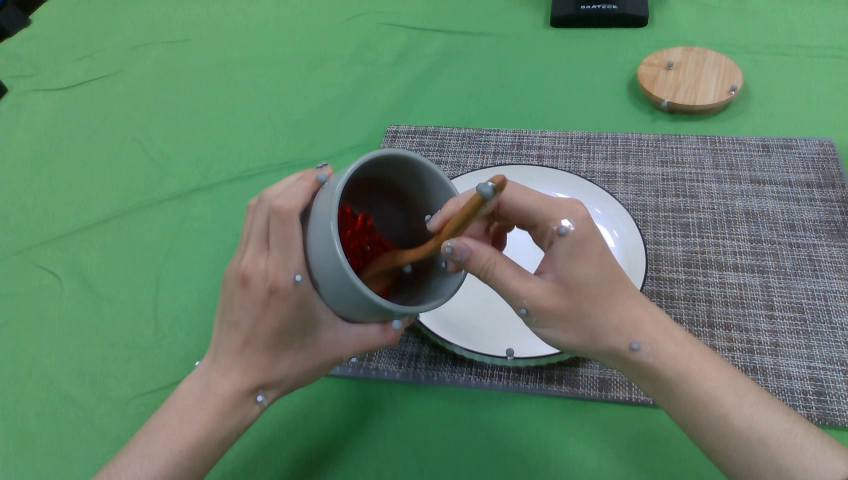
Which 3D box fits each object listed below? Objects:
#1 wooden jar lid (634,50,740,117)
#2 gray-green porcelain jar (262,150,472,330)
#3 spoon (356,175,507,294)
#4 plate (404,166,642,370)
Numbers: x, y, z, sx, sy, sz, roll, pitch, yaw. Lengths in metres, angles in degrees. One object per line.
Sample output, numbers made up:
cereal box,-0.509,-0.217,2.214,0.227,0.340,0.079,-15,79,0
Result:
wooden jar lid,0.285,-0.170,0.662,0.108,0.021,0.107,-4,51,5
gray-green porcelain jar,-0.047,0.007,0.421,0.126,0.106,0.105,-19,31,52
spoon,0.000,0.004,0.362,0.042,0.193,0.021,-22,85,-30
plate,0.073,0.021,0.511,0.207,0.039,0.205,-4,49,5
